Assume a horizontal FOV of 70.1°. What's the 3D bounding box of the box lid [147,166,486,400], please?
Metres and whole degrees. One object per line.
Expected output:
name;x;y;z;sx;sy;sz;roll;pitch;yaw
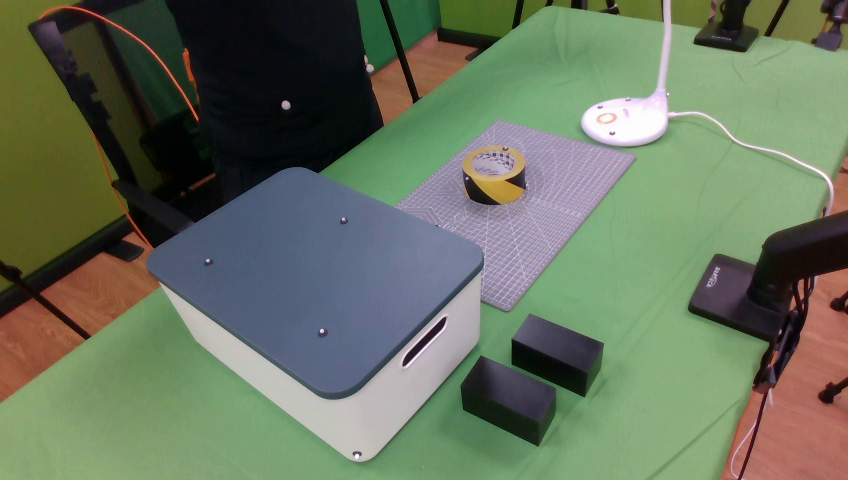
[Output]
box lid;-0.136;0.024;0.738;0.368;0.015;0.264;25;50;32

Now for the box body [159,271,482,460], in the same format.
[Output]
box body;-0.130;0.079;0.787;0.361;0.161;0.255;25;50;32

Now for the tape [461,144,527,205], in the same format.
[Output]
tape;0.124;-0.116;1.058;0.117;0.053;0.116;-4;42;4

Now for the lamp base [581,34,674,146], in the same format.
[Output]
lamp base;0.392;-0.291;1.129;0.180;0.181;0.159;-11;41;-8
